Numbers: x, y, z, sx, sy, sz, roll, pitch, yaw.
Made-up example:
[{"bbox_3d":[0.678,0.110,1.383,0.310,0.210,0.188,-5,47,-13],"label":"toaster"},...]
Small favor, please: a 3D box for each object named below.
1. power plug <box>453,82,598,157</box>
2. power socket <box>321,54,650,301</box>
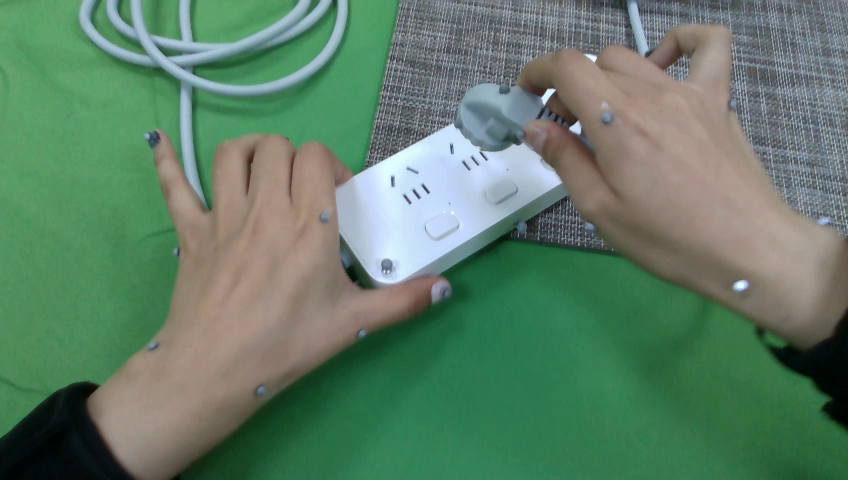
[{"bbox_3d":[0.047,-0.053,0.319,0.072,0.053,0.035,45,75,2],"label":"power plug"},{"bbox_3d":[0.041,-0.045,0.370,0.227,0.033,0.071,-31,70,-16],"label":"power socket"}]
